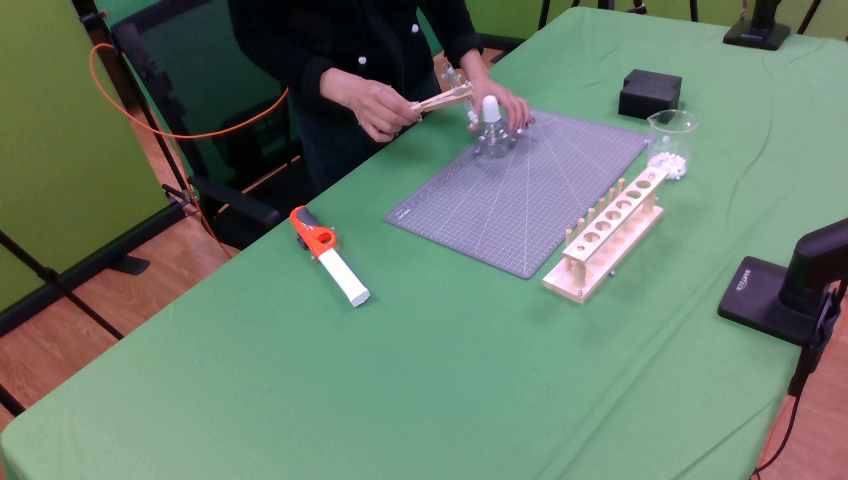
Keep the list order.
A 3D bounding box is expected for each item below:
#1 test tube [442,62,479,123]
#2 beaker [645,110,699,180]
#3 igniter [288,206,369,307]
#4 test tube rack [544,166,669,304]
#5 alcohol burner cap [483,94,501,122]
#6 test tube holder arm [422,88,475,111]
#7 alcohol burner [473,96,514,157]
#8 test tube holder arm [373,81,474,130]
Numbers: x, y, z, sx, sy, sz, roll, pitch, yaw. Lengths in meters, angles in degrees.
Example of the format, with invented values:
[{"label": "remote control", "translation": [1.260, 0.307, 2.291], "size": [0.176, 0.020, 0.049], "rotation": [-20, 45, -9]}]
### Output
[{"label": "test tube", "translation": [0.060, -0.229, 0.957], "size": [0.017, 0.151, 0.017], "rotation": [-9, 65, 19]}, {"label": "beaker", "translation": [0.417, -0.160, 1.032], "size": [0.083, 0.101, 0.074], "rotation": [25, 51, 35]}, {"label": "igniter", "translation": [-0.163, 0.018, 0.986], "size": [0.057, 0.025, 0.274], "rotation": [-33, 45, -12]}, {"label": "test tube rack", "translation": [0.274, -0.018, 0.903], "size": [0.066, 0.085, 0.243], "rotation": [26, 51, 35]}, {"label": "alcohol burner cap", "translation": [0.123, -0.246, 1.116], "size": [0.034, 0.048, 0.033], "rotation": [-9, 37, 7]}, {"label": "test tube holder arm", "translation": [0.038, -0.222, 0.959], "size": [0.087, 0.015, 0.010], "rotation": [-10, 64, 23]}, {"label": "alcohol burner", "translation": [0.129, -0.218, 1.137], "size": [0.078, 0.119, 0.077], "rotation": [-5, 42, 5]}, {"label": "test tube holder arm", "translation": [-0.003, -0.216, 0.978], "size": [0.178, 0.015, 0.013], "rotation": [-17, 60, 20]}]
